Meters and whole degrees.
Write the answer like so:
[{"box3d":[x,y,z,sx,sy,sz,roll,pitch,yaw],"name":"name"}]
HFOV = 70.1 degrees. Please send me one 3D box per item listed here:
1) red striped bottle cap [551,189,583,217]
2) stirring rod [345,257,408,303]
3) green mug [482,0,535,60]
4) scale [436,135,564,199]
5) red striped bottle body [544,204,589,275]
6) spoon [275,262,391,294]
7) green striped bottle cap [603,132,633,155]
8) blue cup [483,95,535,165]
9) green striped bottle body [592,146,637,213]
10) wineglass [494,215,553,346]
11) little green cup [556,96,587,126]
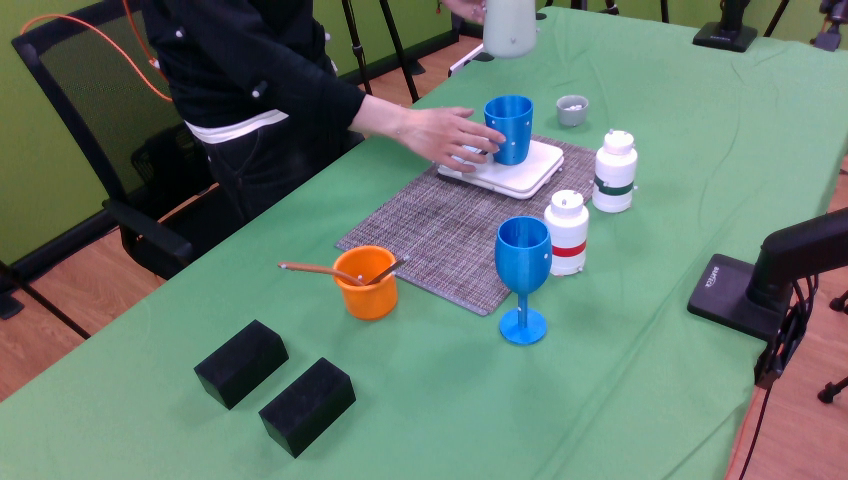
[{"box3d":[0.200,-0.052,0.843,0.044,0.018,0.044,-2,42,2],"name":"red striped bottle cap"},{"box3d":[-0.067,0.056,0.814,0.014,0.175,0.006,-22,81,-37],"name":"stirring rod"},{"box3d":[0.140,-0.383,1.050,0.093,0.105,0.124,-15,41,-12],"name":"green mug"},{"box3d":[0.137,-0.142,1.101,0.199,0.032,0.149,22,48,30],"name":"scale"},{"box3d":[0.206,-0.011,0.877,0.063,0.120,0.062,-5,41,4],"name":"red striped bottle body"},{"box3d":[-0.120,0.050,0.830,0.041,0.195,0.021,31,97,45],"name":"spoon"},{"box3d":[0.302,-0.150,0.939,0.044,0.020,0.044,-3,40,3],"name":"green striped bottle cap"},{"box3d":[0.148,-0.188,1.052,0.092,0.100,0.092,-6,39,5],"name":"blue cup"},{"box3d":[0.307,-0.108,0.976,0.063,0.120,0.063,-4,41,4],"name":"green striped bottle body"},{"box3d":[0.127,0.055,0.770,0.074,0.173,0.073,-4,40,4],"name":"wineglass"},{"box3d":[0.295,-0.258,1.214,0.061,0.039,0.061,-4,42,4],"name":"little green cup"}]
